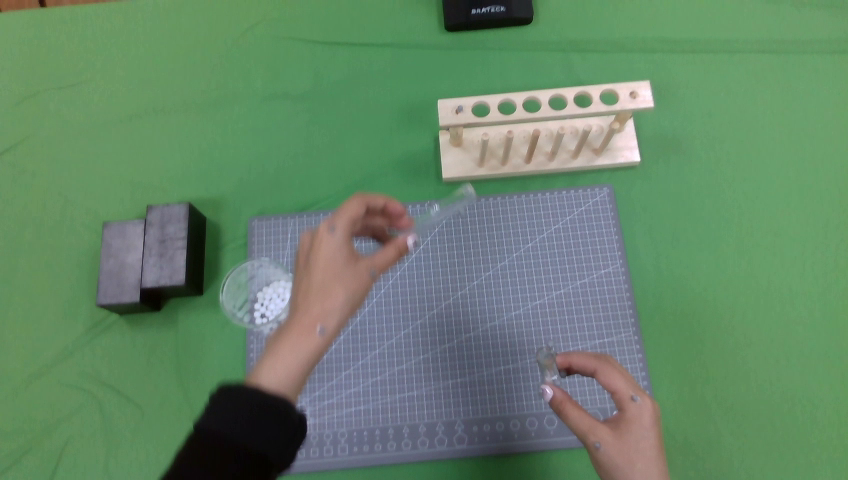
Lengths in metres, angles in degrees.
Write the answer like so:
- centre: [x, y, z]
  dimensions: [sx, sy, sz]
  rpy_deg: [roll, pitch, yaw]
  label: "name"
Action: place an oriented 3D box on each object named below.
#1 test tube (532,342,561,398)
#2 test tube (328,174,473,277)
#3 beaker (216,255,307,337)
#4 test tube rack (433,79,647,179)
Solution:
- centre: [0.108, 0.116, 0.525]
  dimensions: [0.017, 0.152, 0.017]
  rpy_deg: [-6, 64, 13]
  label: "test tube"
- centre: [-0.022, -0.013, 0.540]
  dimensions: [0.150, 0.017, 0.017]
  rpy_deg: [-34, 74, -2]
  label: "test tube"
- centre: [-0.170, 0.065, 0.665]
  dimensions: [0.084, 0.101, 0.073]
  rpy_deg: [-13, 72, -2]
  label: "beaker"
- centre: [0.134, -0.130, 0.725]
  dimensions: [0.242, 0.086, 0.066]
  rpy_deg: [-5, 72, 1]
  label: "test tube rack"
